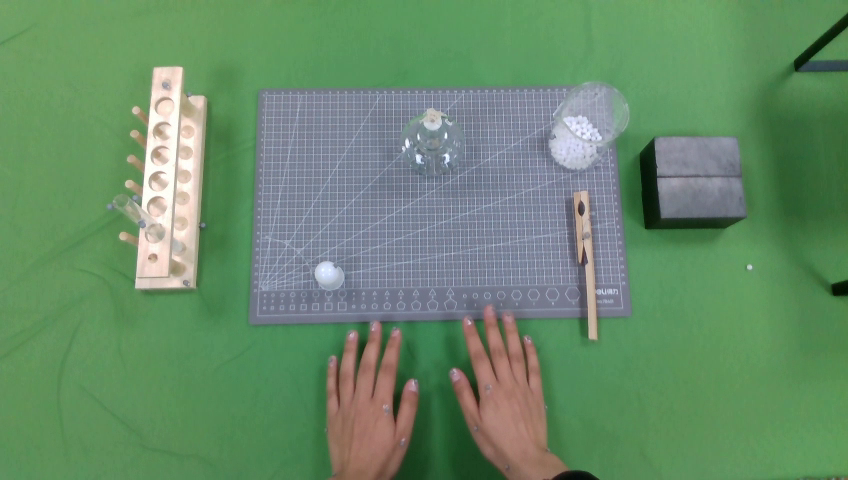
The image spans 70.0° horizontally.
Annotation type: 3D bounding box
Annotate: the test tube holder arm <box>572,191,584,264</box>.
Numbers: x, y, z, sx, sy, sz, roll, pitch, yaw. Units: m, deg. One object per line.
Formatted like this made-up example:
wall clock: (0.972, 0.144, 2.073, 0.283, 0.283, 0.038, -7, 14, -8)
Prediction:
test tube holder arm: (0.188, -0.015, 0.731, 0.010, 0.015, 0.087, -8, 78, 30)

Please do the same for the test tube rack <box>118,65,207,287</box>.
test tube rack: (-0.305, -0.071, 0.701, 0.067, 0.085, 0.241, -1, 77, -1)

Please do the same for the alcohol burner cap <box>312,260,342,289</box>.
alcohol burner cap: (-0.115, 0.038, 0.700, 0.034, 0.048, 0.033, 1, 77, -2)

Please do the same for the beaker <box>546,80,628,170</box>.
beaker: (0.184, -0.130, 0.715, 0.084, 0.100, 0.073, -3, 77, 0)

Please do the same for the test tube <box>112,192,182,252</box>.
test tube: (-0.287, -0.015, 0.639, 0.017, 0.151, 0.017, 1, 72, -1)

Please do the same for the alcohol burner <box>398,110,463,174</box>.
alcohol burner: (0.007, -0.121, 0.701, 0.078, 0.119, 0.077, 0, 78, 1)

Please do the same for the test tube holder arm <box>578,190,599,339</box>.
test tube holder arm: (0.195, 0.028, 0.720, 0.013, 0.015, 0.177, -10, 77, 29)
